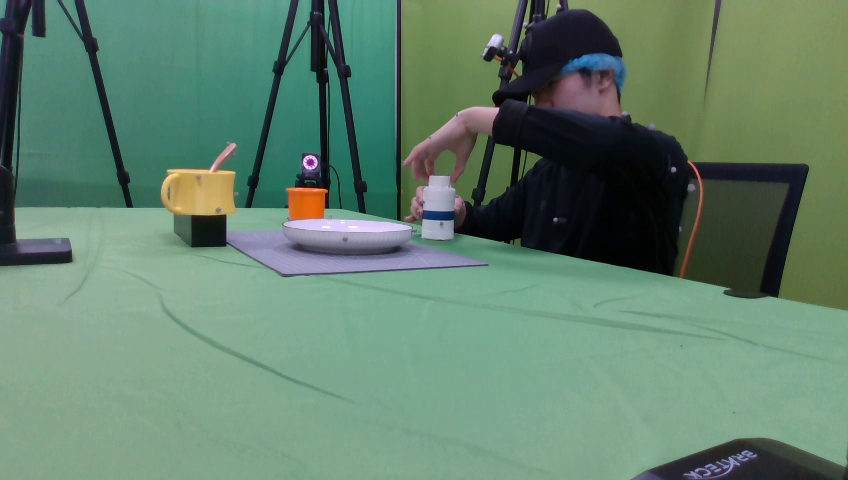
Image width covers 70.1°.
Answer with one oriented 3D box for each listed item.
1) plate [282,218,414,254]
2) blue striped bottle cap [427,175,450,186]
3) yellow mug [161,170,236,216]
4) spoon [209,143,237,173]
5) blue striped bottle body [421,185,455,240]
[{"bbox_3d":[-0.120,-0.007,0.971,0.208,0.039,0.207,2,7,0],"label":"plate"},{"bbox_3d":[0.028,-0.113,1.150,0.044,0.020,0.044,4,7,0],"label":"blue striped bottle cap"},{"bbox_3d":[-0.354,-0.074,0.935,0.099,0.064,0.131,5,9,21],"label":"yellow mug"},{"bbox_3d":[-0.341,-0.113,0.990,0.041,0.021,0.193,1,39,6],"label":"spoon"},{"bbox_3d":[0.027,-0.063,1.157,0.063,0.120,0.063,2,7,0],"label":"blue striped bottle body"}]
